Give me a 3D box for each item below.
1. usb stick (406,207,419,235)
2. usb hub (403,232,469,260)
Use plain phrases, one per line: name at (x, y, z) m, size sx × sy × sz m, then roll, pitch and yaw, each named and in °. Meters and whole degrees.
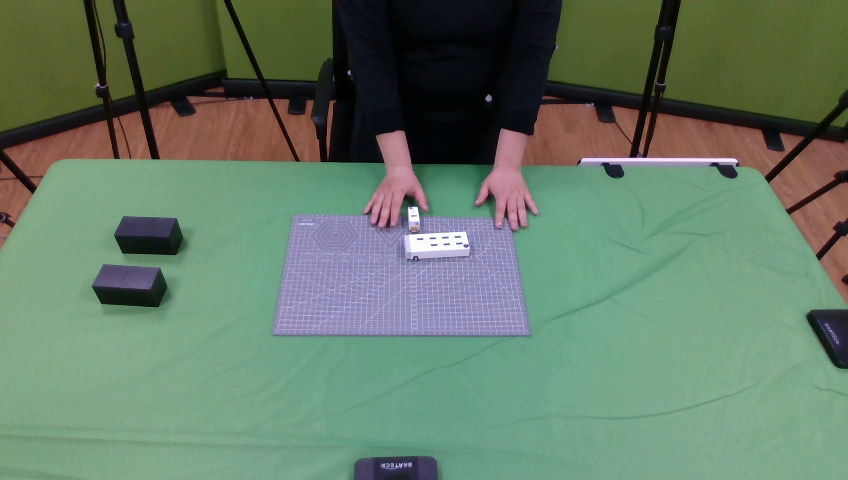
usb stick at (-0.023, -0.037, 1.225) m, size 0.021 × 0.027 × 0.059 m, roll 0°, pitch 49°, yaw -9°
usb hub at (0.023, 0.012, 1.182) m, size 0.125 × 0.025 × 0.049 m, roll -3°, pitch 46°, yaw -7°
